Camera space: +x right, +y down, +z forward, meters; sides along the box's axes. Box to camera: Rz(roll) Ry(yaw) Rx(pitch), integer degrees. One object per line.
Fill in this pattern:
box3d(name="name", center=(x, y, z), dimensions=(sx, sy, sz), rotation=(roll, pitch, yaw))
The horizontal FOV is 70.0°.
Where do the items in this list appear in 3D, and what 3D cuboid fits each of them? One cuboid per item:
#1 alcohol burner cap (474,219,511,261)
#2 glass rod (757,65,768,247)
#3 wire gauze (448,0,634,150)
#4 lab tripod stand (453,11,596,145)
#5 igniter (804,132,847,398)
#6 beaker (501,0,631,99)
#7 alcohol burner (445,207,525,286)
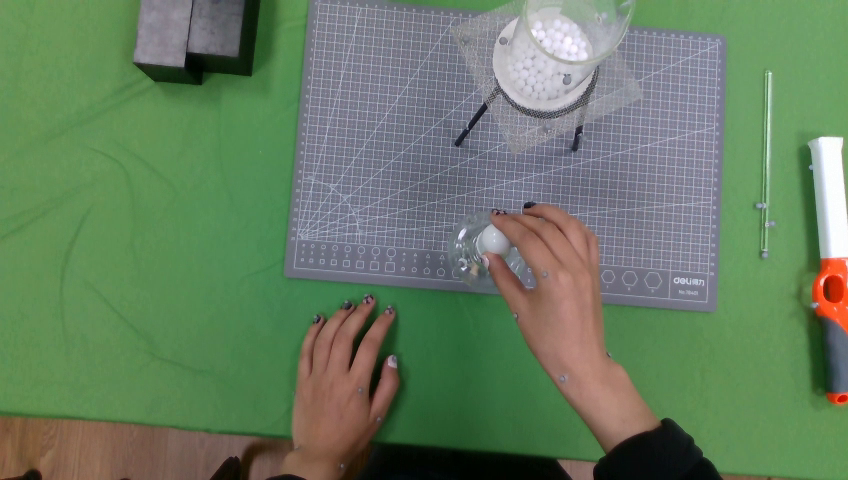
box3d(name="alcohol burner cap", center=(0.061, -0.003, 0.526), dimensions=(0.034, 0.048, 0.033), rotation=(0, 78, 0))
box3d(name="glass rod", center=(0.364, -0.091, 0.650), dimensions=(0.008, 0.008, 0.199), rotation=(4, 86, -2))
box3d(name="wire gauze", center=(0.100, -0.152, 0.512), dimensions=(0.125, 0.011, 0.121), rotation=(-25, 90, -5))
box3d(name="lab tripod stand", center=(0.097, -0.143, 0.577), dimensions=(0.148, 0.131, 0.148), rotation=(0, 87, -2))
box3d(name="igniter", center=(0.427, 0.024, 0.634), dimensions=(0.057, 0.025, 0.276), rotation=(-1, 86, -13))
box3d(name="beaker", center=(0.102, -0.155, 0.464), dimensions=(0.084, 0.100, 0.074), rotation=(-16, 87, -3))
box3d(name="alcohol burner", center=(0.060, 0.005, 0.575), dimensions=(0.078, 0.119, 0.077), rotation=(0, 84, -4))
